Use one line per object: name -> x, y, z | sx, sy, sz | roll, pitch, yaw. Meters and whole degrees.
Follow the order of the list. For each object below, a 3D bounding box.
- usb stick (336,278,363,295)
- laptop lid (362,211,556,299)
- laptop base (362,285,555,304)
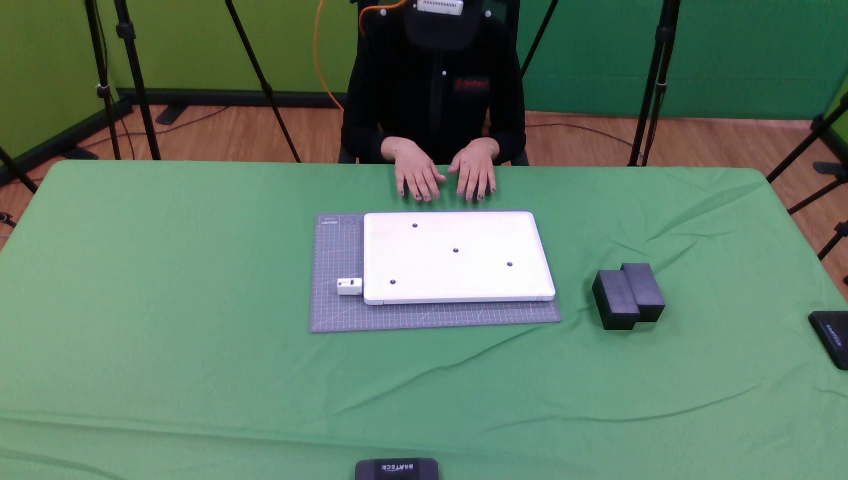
usb stick -> -0.128, 0.083, 1.094 | 0.059, 0.027, 0.021 | 2, 44, -5
laptop lid -> 0.059, 0.022, 1.168 | 0.357, 0.013, 0.240 | 0, 44, -4
laptop base -> 0.059, 0.032, 1.174 | 0.355, 0.023, 0.234 | -1, 43, -5
